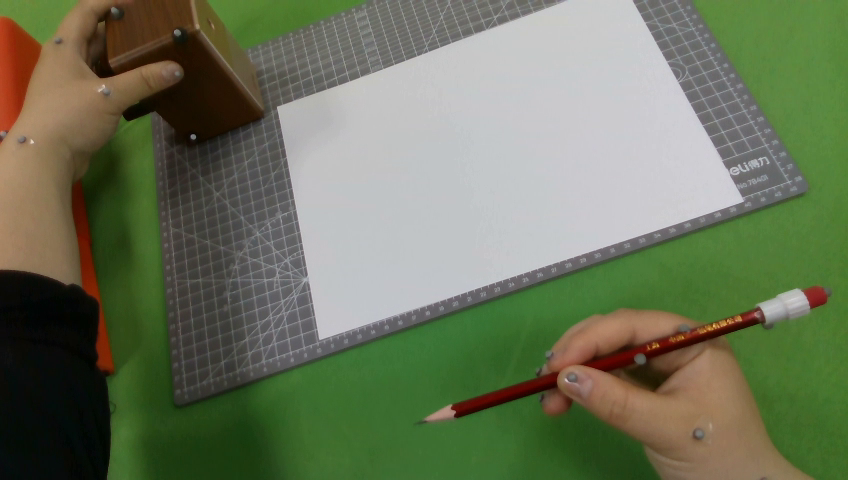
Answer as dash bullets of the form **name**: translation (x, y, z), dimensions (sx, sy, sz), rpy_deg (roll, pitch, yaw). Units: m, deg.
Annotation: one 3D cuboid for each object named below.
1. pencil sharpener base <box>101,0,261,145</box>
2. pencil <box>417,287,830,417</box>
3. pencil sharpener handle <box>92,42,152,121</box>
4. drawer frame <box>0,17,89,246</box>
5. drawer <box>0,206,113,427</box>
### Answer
- **pencil sharpener base**: translation (-0.188, -0.134, 0.477), dimensions (0.076, 0.108, 0.061), rpy_deg (-22, 63, 4)
- **pencil**: translation (0.088, 0.055, 0.282), dimensions (0.194, 0.012, 0.012), rpy_deg (-18, 64, 6)
- **pencil sharpener handle**: translation (-0.238, -0.119, 0.469), dimensions (0.030, 0.068, 0.035), rpy_deg (-22, 60, 4)
- **drawer frame**: translation (-0.404, -0.051, 0.509), dimensions (0.201, 0.083, 0.211), rpy_deg (-26, 64, 2)
- **drawer**: translation (-0.359, 0.045, 0.461), dimensions (0.194, 0.074, 0.210), rpy_deg (-26, 65, 2)
